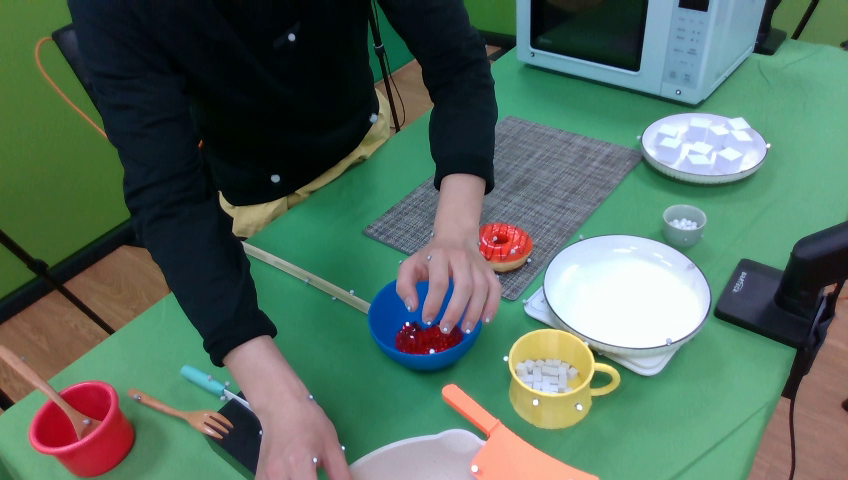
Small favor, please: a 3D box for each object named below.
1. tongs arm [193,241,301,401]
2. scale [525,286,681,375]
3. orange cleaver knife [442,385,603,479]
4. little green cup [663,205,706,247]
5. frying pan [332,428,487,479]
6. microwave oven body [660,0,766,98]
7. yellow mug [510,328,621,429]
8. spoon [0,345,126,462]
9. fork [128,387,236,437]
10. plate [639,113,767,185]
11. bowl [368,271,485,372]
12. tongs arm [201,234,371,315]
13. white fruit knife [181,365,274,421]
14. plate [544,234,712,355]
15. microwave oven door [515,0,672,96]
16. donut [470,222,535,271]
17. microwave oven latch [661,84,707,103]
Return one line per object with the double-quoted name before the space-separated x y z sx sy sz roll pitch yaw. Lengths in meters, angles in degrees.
"tongs arm" -0.268 0.105 0.882 0.028 0.028 0.384 -34 45 -19
"scale" 0.254 0.091 0.821 0.199 0.032 0.149 28 51 35
"orange cleaver knife" 0.086 0.219 0.612 0.209 0.012 0.077 28 49 35
"little green cup" 0.396 -0.020 0.926 0.061 0.039 0.061 -4 40 4
"frying pan" -0.089 0.306 0.564 0.487 0.103 0.306 10 41 7
"microwave oven body" 0.472 -0.513 1.317 0.438 0.261 0.327 26 51 34
"yellow mug" 0.168 0.164 0.722 0.130 0.064 0.099 0 40 8
"spoon" -0.434 0.192 0.720 0.194 0.021 0.042 47 54 -7
"fork" -0.305 0.208 0.744 0.206 0.019 0.028 3 40 36
"plate" 0.489 -0.157 1.074 0.207 0.039 0.206 -4 40 4
"bowl" 0.007 0.119 0.791 0.151 0.077 0.150 -5 40 5
"tongs arm" -0.208 0.060 0.924 0.381 0.026 0.051 23 52 33
"white fruit knife" -0.246 0.188 0.747 0.205 0.027 0.016 9 41 41
"plate" 0.262 0.072 0.792 0.209 0.038 0.208 -4 41 4
"microwave oven door" 0.343 -0.454 1.259 0.353 0.245 0.039 26 51 33
"donut" 0.119 0.009 0.923 0.099 0.048 0.098 -4 38 3
"microwave oven latch" 0.517 -0.296 1.204 0.078 0.029 0.030 27 52 35
